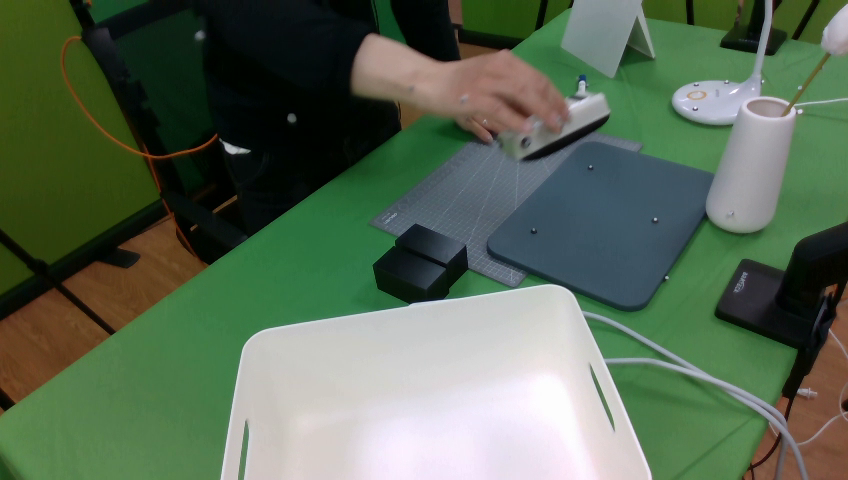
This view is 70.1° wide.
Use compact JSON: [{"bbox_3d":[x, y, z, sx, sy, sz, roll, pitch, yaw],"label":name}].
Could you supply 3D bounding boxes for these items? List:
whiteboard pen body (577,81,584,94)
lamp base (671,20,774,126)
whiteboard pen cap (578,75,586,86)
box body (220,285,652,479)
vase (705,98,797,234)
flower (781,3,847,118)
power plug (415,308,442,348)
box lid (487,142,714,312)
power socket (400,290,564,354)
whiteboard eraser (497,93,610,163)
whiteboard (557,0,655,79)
[{"bbox_3d":[0.335,-0.313,1.292,0.017,0.017,0.140,3,40,12],"label":"whiteboard pen body"},{"bbox_3d":[0.581,-0.332,1.154,0.179,0.181,0.160,2,42,7],"label":"lamp base"},{"bbox_3d":[0.349,-0.351,1.334,0.018,0.018,0.033,3,39,12],"label":"whiteboard pen cap"},{"bbox_3d":[0.005,0.211,0.616,0.364,0.161,0.252,-9,40,-2],"label":"box body"},{"bbox_3d":[0.480,-0.104,0.888,0.098,0.201,0.097,-4,42,4],"label":"vase"},{"bbox_3d":[0.480,-0.157,0.823,0.044,0.362,0.038,-9,56,-9],"label":"flower"},{"bbox_3d":[0.004,0.121,0.786,0.035,0.053,0.072,1,46,8],"label":"power plug"},{"bbox_3d":[0.298,-0.041,0.986,0.261,0.015,0.372,23,49,30],"label":"box lid"},{"bbox_3d":[0.079,0.111,0.823,0.227,0.033,0.072,-6,41,1],"label":"power socket"},{"bbox_3d":[0.139,-0.118,0.651,0.113,0.042,0.055,-26,26,-6],"label":"whiteboard eraser"},{"bbox_3d":[0.462,-0.542,1.367,0.145,0.306,0.215,-3,36,-25],"label":"whiteboard"}]
